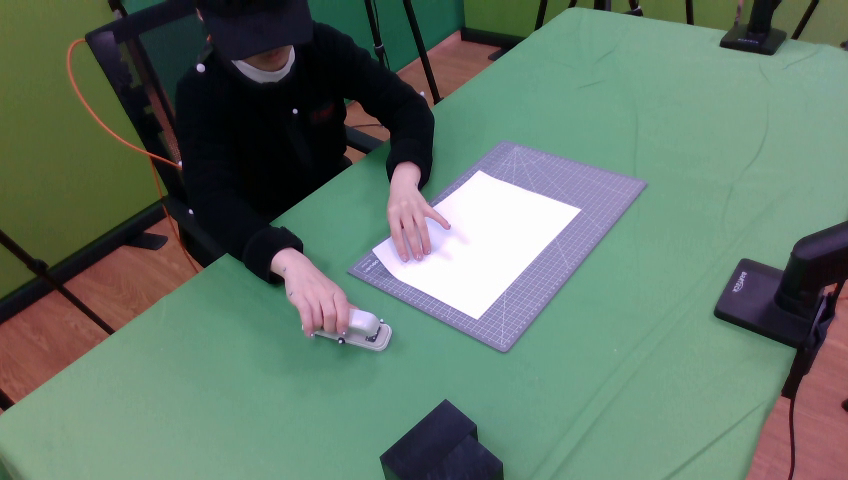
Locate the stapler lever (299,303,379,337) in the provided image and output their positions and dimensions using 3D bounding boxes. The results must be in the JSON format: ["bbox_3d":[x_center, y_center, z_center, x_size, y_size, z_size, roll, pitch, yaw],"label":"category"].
[{"bbox_3d":[-0.116,0.106,0.818,0.117,0.040,0.027,11,60,18],"label":"stapler lever"}]

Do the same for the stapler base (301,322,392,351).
[{"bbox_3d":[-0.110,0.119,0.838,0.130,0.024,0.041,11,60,19],"label":"stapler base"}]
